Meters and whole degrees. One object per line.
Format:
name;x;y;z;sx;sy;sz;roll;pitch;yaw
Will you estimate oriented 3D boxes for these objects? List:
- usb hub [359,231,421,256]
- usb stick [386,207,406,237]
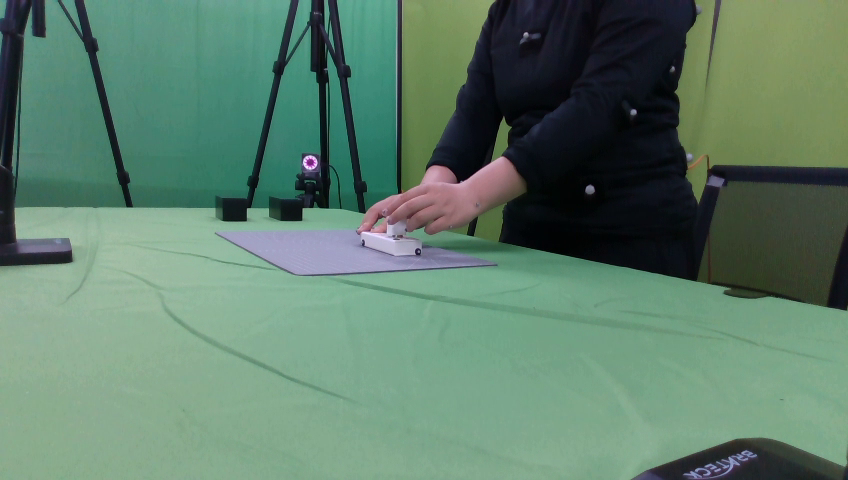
usb hub;-0.056;0.004;0.954;0.050;0.025;0.124;-3;8;-31
usb stick;-0.043;-0.022;0.937;0.027;0.059;0.021;-5;10;-35
